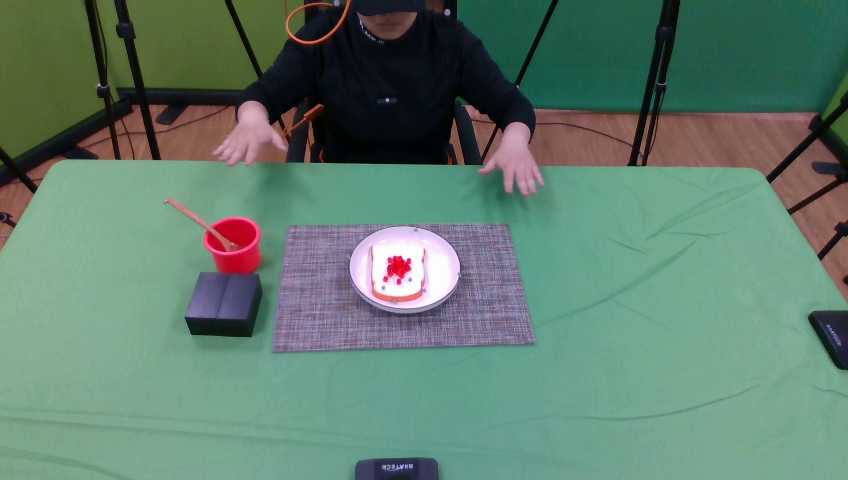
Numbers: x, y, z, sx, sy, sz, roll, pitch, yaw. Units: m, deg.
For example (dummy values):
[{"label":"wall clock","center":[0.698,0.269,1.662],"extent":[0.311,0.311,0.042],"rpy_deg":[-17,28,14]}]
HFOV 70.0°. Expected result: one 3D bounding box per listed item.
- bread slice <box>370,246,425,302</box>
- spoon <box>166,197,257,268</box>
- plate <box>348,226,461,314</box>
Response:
[{"label":"bread slice","center":[-0.048,0.060,1.123],"extent":[0.105,0.019,0.130],"rpy_deg":[0,45,-3]},{"label":"spoon","center":[-0.383,-0.014,1.100],"extent":[0.194,0.021,0.041],"rpy_deg":[45,46,-22]},{"label":"plate","center":[-0.035,0.058,1.123],"extent":[0.209,0.038,0.208],"rpy_deg":[2,46,-2]}]
